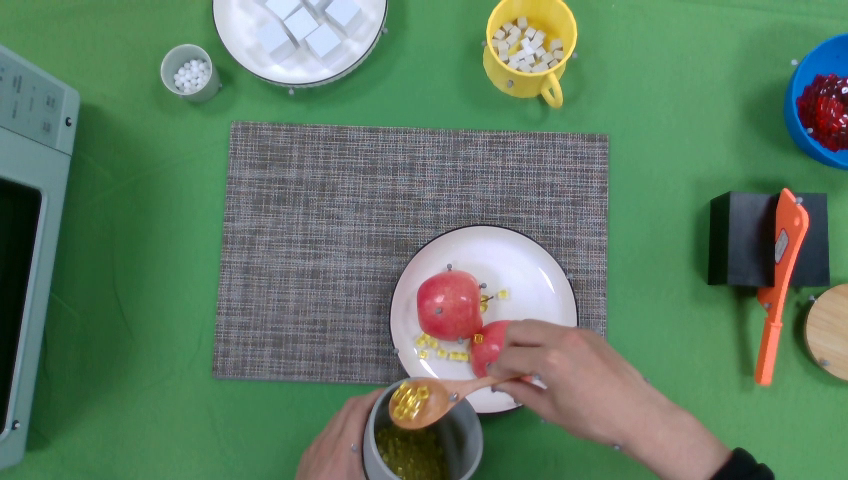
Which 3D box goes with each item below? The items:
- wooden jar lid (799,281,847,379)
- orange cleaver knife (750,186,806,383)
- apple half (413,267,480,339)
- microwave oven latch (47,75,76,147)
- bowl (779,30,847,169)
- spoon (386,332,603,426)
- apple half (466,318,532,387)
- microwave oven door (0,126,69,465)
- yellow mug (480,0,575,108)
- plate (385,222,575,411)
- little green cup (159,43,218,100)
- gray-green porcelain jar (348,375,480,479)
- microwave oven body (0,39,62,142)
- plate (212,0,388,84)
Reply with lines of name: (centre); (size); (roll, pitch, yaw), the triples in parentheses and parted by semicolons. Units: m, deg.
wooden jar lid: (0.472, 0.099, 0.675); (0.108, 0.021, 0.108); (0, 84, 3)
orange cleaver knife: (0.372, 0.050, 0.653); (0.012, 0.077, 0.212); (4, 108, 6)
apple half: (0.024, 0.069, 0.665); (0.074, 0.053, 0.080); (0, 85, 4)
microwave oven latch: (-0.428, -0.150, 0.702); (0.030, 0.029, 0.079); (9, 85, 2)
bowl: (0.459, -0.145, 0.671); (0.151, 0.077, 0.151); (0, 84, 2)
spoon: (0.059, 0.116, 0.516); (0.193, 0.022, 0.041); (-21, 77, 11)
apple half: (0.084, 0.124, 0.666); (0.081, 0.033, 0.081); (0, 81, 1)
microwave oven door: (-0.456, 0.056, 0.581); (0.039, 0.244, 0.355); (5, 84, 3)
yellow mug: (0.124, -0.211, 0.696); (0.100, 0.064, 0.130); (-26, 85, -1)
plate: (0.061, 0.084, 0.677); (0.209, 0.038, 0.208); (0, 85, 2)
little green cup: (-0.276, -0.197, 0.719); (0.061, 0.039, 0.061); (0, 85, 1)
gray-green porcelain jar: (-0.015, 0.205, 0.579); (0.106, 0.127, 0.105); (10, 48, -11)
microwave oven body: (-0.597, 0.000, 0.596); (0.326, 0.260, 0.440); (6, 85, 2)
plate: (-0.145, -0.283, 0.726); (0.207, 0.039, 0.207); (0, 84, 2)
